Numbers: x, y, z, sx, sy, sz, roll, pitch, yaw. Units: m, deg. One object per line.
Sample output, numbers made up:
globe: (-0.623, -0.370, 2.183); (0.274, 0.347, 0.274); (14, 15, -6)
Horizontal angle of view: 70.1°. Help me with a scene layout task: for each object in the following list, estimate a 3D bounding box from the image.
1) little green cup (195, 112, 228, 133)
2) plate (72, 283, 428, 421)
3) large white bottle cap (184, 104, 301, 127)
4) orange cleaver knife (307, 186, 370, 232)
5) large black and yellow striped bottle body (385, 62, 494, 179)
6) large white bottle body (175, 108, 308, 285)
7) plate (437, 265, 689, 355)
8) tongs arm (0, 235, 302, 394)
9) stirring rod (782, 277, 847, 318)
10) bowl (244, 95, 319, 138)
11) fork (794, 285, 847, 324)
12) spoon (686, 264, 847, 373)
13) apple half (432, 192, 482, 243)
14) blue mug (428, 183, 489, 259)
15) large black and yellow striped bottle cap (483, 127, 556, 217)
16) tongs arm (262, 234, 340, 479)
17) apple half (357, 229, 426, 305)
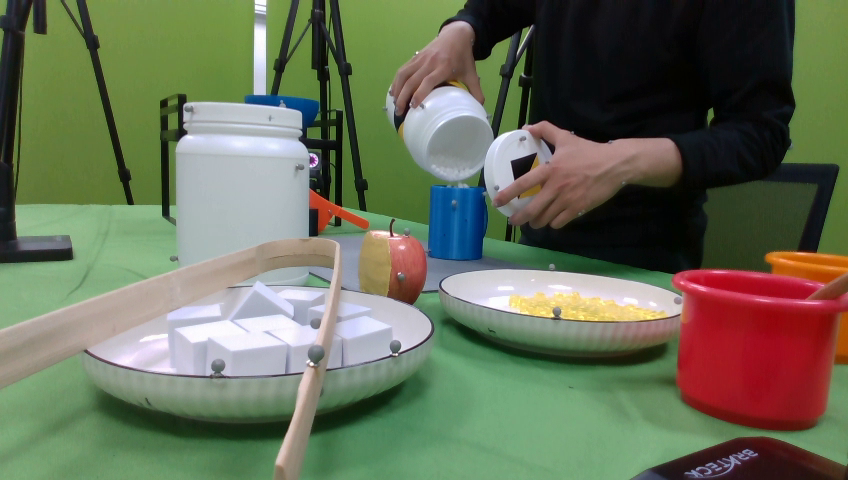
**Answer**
little green cup: (-0.412, -0.227, 1.172); (0.061, 0.038, 0.061); (3, 8, 0)
plate: (-0.102, 0.066, 0.381); (0.208, 0.039, 0.207); (2, 7, 0)
large white bottle cap: (-0.184, -0.126, 0.618); (0.115, 0.018, 0.115); (2, 8, 0)
orange cleaver knife: (-0.197, -0.056, 1.141); (0.212, 0.077, 0.012); (29, 0, -35)
large black and yellow striped bottle body: (0.023, -0.185, 0.943); (0.131, 0.130, 0.183); (-1, 35, -22)
large white bottle body: (-0.188, -0.042, 0.630); (0.131, 0.184, 0.130); (2, 8, 0)
plate: (0.114, 0.057, 0.517); (0.209, 0.038, 0.209); (3, 8, 0)
tongs arm: (-0.157, 0.038, 0.351); (0.028, 0.028, 0.388); (-3, 8, 12)
stirring rod: (0.344, 0.019, 0.461); (0.014, 0.006, 0.176); (-13, -27, -30)
bowl: (-0.293, -0.251, 1.249); (0.151, 0.077, 0.151); (2, 7, 0)
fork: (0.332, 0.018, 0.443); (0.028, 0.018, 0.207); (-1, -36, -15)
spoon: (0.214, 0.032, 0.328); (0.042, 0.021, 0.193); (-3, -35, -26)
apple half: (0.049, -0.036, 0.906); (0.081, 0.081, 0.033); (2, 15, -1)
blue mug: (0.059, -0.031, 0.907); (0.082, 0.106, 0.117); (9, 10, 42)
large black and yellow striped bottle cap: (0.125, -0.087, 0.774); (0.115, 0.115, 0.018); (-3, -1, -35)
tongs arm: (-0.074, 0.039, 0.349); (0.051, 0.026, 0.384); (-2, 10, -3)
apple half: (-0.026, 0.028, 0.570); (0.053, 0.074, 0.080); (3, 2, -28)
